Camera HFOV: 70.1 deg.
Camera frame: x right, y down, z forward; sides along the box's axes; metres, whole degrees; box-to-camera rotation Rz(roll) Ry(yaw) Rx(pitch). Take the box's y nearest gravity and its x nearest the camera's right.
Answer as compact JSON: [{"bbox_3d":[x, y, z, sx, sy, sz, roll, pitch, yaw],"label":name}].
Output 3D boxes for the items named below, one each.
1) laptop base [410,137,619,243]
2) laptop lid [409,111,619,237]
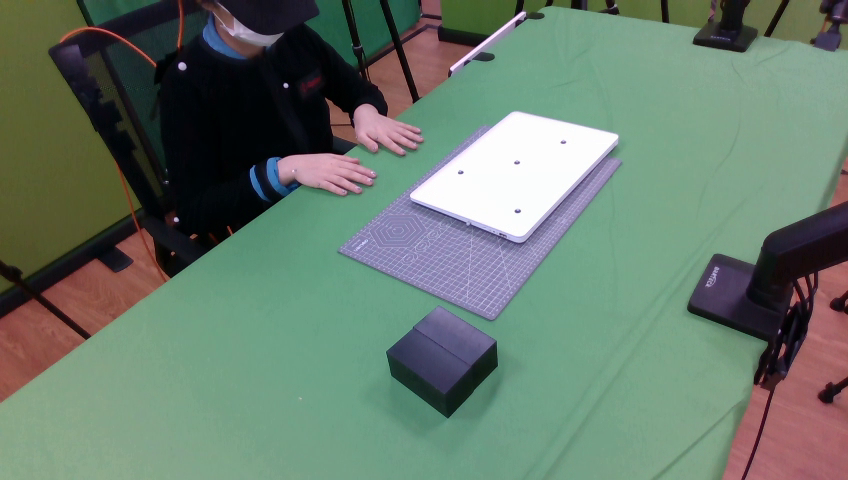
[{"bbox_3d":[0.171,-0.126,1.096,0.233,0.023,0.355,21,47,33],"label":"laptop base"},{"bbox_3d":[0.168,-0.136,1.089,0.239,0.013,0.358,23,48,34],"label":"laptop lid"}]
